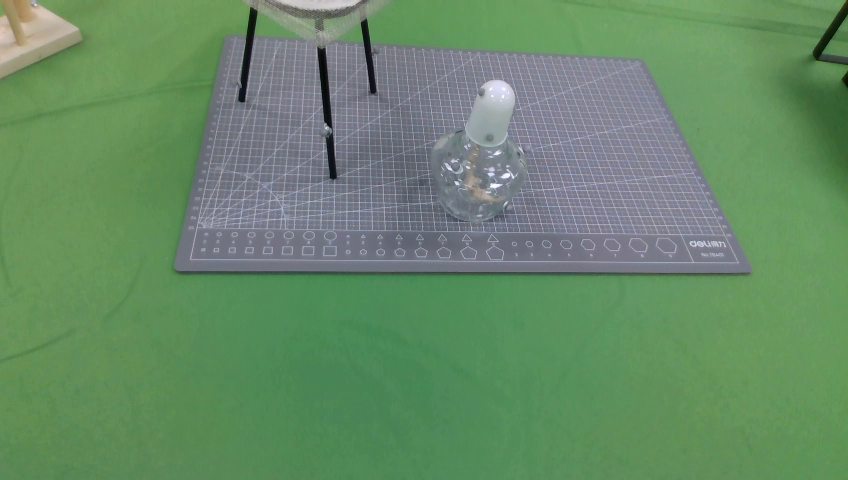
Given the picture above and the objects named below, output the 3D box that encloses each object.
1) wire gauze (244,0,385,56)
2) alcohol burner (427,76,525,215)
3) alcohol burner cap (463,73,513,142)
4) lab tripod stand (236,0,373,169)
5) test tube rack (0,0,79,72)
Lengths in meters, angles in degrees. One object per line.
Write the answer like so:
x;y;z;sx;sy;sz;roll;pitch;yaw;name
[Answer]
-0.085;-0.194;0.444;0.124;0.011;0.121;34;57;13;wire gauze
0.043;-0.076;0.466;0.078;0.120;0.077;6;49;-6;alcohol burner
0.048;-0.097;0.437;0.034;0.048;0.033;4;55;-6;alcohol burner cap
-0.090;-0.153;0.494;0.149;0.132;0.147;6;51;-7;lab tripod stand
-0.420;-0.166;0.488;0.066;0.086;0.241;31;53;16;test tube rack
